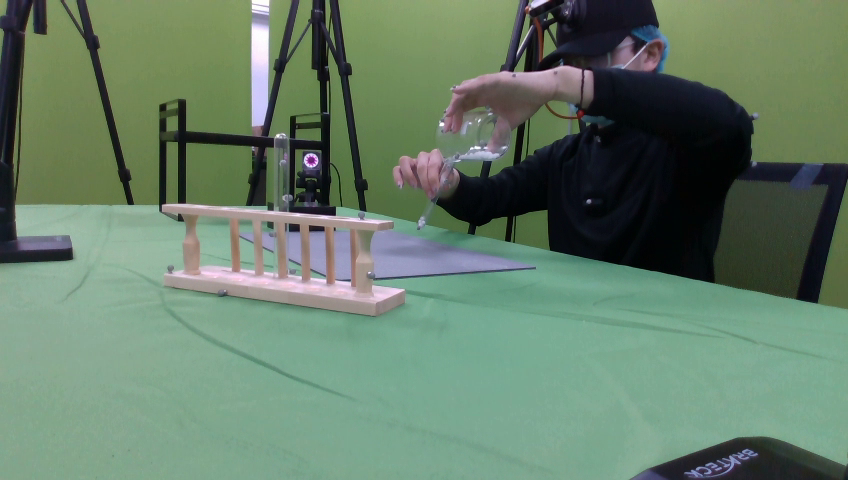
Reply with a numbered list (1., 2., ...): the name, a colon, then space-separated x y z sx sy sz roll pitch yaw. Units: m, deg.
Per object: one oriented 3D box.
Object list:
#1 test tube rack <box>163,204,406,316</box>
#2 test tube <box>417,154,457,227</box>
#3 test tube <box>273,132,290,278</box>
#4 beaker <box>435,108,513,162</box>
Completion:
1. test tube rack: -0.141 0.013 0.601 0.241 0.085 0.067 5 8 21
2. test tube: 0.019 -0.075 0.965 0.017 0.150 0.017 15 42 -13
3. test tube: -0.146 -0.034 0.617 0.017 0.150 0.017 2 8 0
4. beaker: 0.071 -0.149 0.869 0.074 0.084 0.100 32 -10 -31
